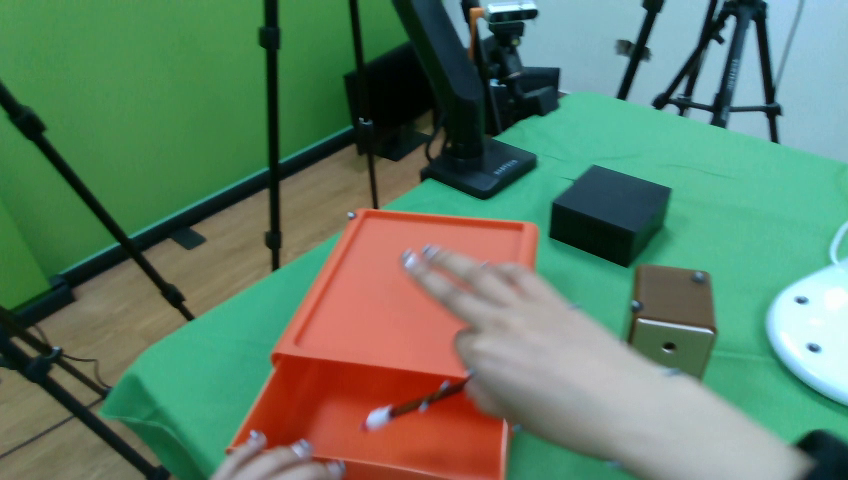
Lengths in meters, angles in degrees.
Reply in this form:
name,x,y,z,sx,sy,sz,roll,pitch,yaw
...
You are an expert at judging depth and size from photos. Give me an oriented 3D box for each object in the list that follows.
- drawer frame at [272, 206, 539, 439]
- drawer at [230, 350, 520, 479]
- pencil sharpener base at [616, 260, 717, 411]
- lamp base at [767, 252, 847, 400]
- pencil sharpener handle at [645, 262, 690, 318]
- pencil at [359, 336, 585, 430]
name,x,y,z,sx,sy,sz,roll,pitch,yaw
drawer frame,-0.003,0.063,0.568,0.201,0.083,0.212,4,38,12
drawer,-0.020,0.117,0.504,0.194,0.074,0.210,4,38,12
pencil sharpener base,0.200,0.079,0.509,0.061,0.108,0.076,7,39,15
lamp base,0.394,0.021,0.507,0.160,0.182,0.178,5,37,12
pencil sharpener handle,0.212,0.039,0.540,0.036,0.068,0.030,12,40,11
pencil,0.024,0.098,0.407,0.194,0.012,0.012,-31,24,33
